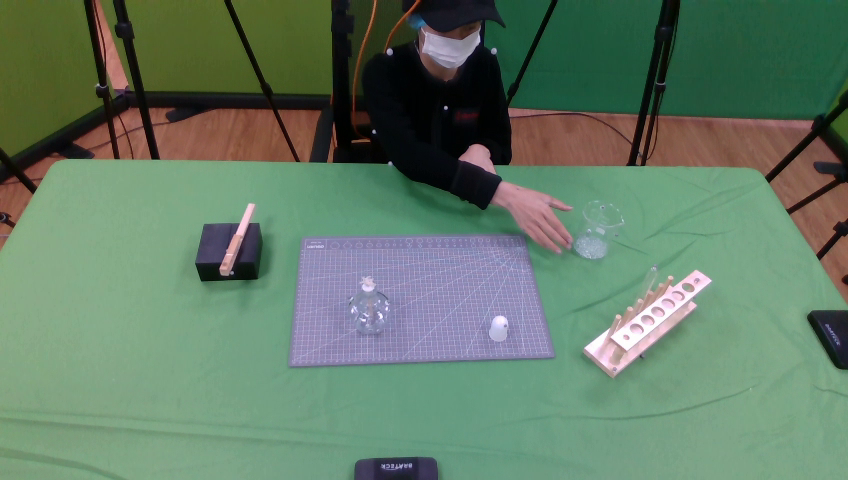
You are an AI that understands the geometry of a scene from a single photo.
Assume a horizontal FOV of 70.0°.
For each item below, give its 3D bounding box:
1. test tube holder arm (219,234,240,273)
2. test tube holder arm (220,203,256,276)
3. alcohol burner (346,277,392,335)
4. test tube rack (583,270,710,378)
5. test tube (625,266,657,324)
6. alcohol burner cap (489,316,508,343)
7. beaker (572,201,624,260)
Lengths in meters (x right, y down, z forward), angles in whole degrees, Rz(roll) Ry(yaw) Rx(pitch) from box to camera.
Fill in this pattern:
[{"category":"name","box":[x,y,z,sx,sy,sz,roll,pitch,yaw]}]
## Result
[{"category":"test tube holder arm","box":[-0.344,0.023,1.076,0.015,0.010,0.087,5,45,2]},{"category":"test tube holder arm","box":[-0.340,-0.005,1.112,0.015,0.013,0.177,5,46,2]},{"category":"alcohol burner","box":[-0.093,0.106,1.021,0.078,0.120,0.077,1,46,-1]},{"category":"test tube rack","box":[0.389,0.133,1.057,0.242,0.085,0.066,-29,54,-28]},{"category":"test tube","box":[0.367,0.097,1.027,0.017,0.151,0.017,1,46,-1]},{"category":"alcohol burner cap","box":[0.130,0.151,1.045,0.034,0.048,0.033,2,46,-2]},{"category":"beaker","box":[0.338,-0.015,1.187,0.084,0.101,0.074,21,49,15]}]
